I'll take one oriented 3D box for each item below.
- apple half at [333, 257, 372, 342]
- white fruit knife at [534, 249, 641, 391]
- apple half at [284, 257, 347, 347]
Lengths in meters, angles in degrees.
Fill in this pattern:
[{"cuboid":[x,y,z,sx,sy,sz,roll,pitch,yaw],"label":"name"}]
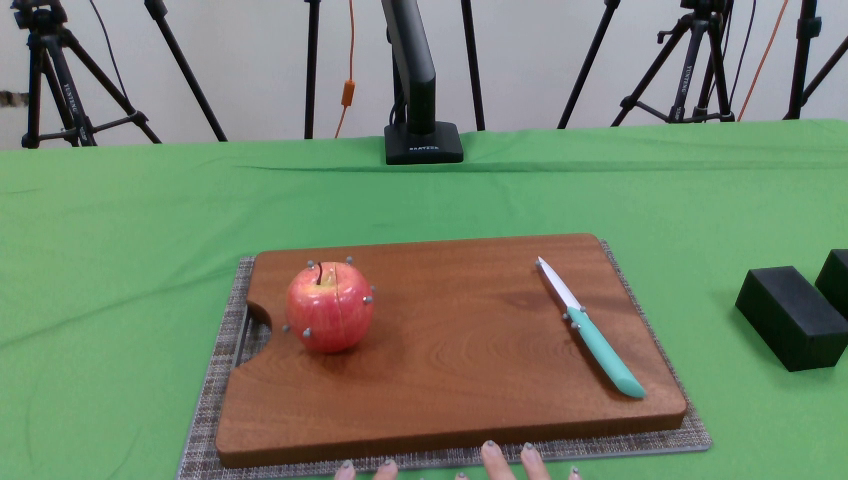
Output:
[{"cuboid":[-0.065,0.055,0.571,0.033,0.082,0.080,-10,38,-7],"label":"apple half"},{"cuboid":[0.152,0.069,0.604,0.027,0.016,0.205,18,27,-28],"label":"white fruit knife"},{"cuboid":[-0.103,0.061,0.566,0.053,0.075,0.080,-11,42,-6],"label":"apple half"}]
